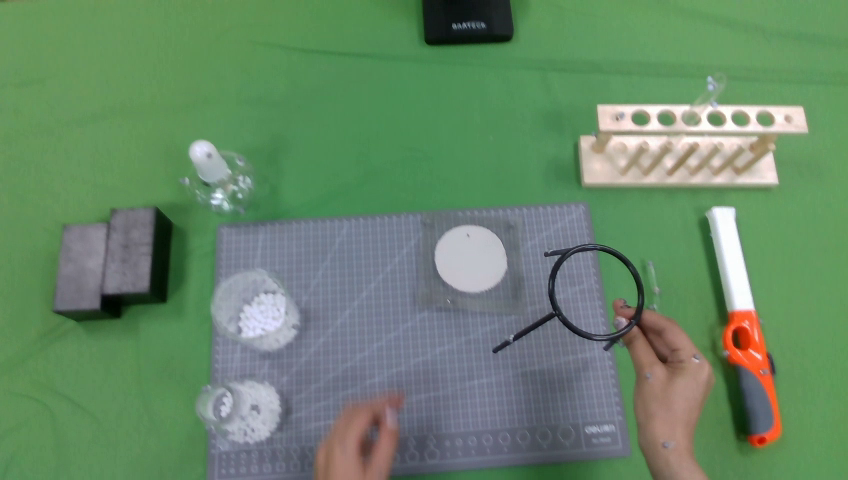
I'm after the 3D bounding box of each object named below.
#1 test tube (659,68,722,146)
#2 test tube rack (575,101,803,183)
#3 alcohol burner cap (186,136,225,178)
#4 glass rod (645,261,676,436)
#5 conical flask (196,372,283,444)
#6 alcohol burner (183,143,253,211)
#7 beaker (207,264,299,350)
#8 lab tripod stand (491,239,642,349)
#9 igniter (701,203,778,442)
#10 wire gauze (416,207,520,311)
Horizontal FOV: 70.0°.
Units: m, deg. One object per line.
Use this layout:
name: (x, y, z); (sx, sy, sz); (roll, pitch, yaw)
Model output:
test tube: (0.299, -0.146, 0.689); (0.017, 0.151, 0.017); (0, 71, 1)
test tube rack: (0.315, -0.117, 0.732); (0.242, 0.085, 0.066); (0, 71, -2)
alcohol burner cap: (-0.237, -0.092, 0.651); (0.034, 0.048, 0.033); (1, 65, -2)
glass rod: (0.270, 0.120, 0.693); (0.008, 0.008, 0.198); (-2, 75, -3)
conical flask: (-0.188, 0.163, 0.600); (0.075, 0.122, 0.075); (1, 71, -2)
alcohol burner: (-0.238, -0.078, 0.684); (0.078, 0.120, 0.077); (0, 73, 0)
beaker: (-0.172, 0.076, 0.641); (0.084, 0.101, 0.074); (31, 73, 8)
lab tripod stand: (0.142, 0.063, 0.603); (0.149, 0.132, 0.147); (2, 75, -8)
igniter: (0.361, 0.088, 0.697); (0.057, 0.025, 0.274); (1, 72, -12)
wire gauze: (0.053, 0.020, 0.716); (0.125, 0.011, 0.120); (5, 72, -3)
